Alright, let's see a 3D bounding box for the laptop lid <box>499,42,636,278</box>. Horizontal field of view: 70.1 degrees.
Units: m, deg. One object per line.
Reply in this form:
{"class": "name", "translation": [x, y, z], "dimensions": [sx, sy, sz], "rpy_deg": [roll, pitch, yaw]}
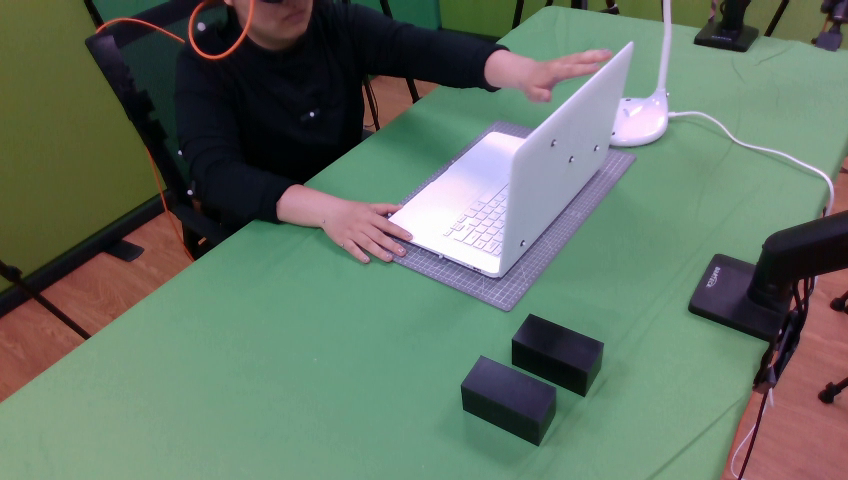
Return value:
{"class": "laptop lid", "translation": [0.217, -0.122, 0.898], "dimensions": [0.013, 0.242, 0.358], "rpy_deg": [28, 50, 25]}

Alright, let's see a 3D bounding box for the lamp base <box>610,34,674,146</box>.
{"class": "lamp base", "translation": [0.393, -0.291, 1.129], "dimensions": [0.180, 0.181, 0.159], "rpy_deg": [-11, 41, -8]}

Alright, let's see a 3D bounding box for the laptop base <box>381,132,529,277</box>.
{"class": "laptop base", "translation": [0.122, -0.077, 1.043], "dimensions": [0.233, 0.023, 0.355], "rpy_deg": [20, 47, 33]}
